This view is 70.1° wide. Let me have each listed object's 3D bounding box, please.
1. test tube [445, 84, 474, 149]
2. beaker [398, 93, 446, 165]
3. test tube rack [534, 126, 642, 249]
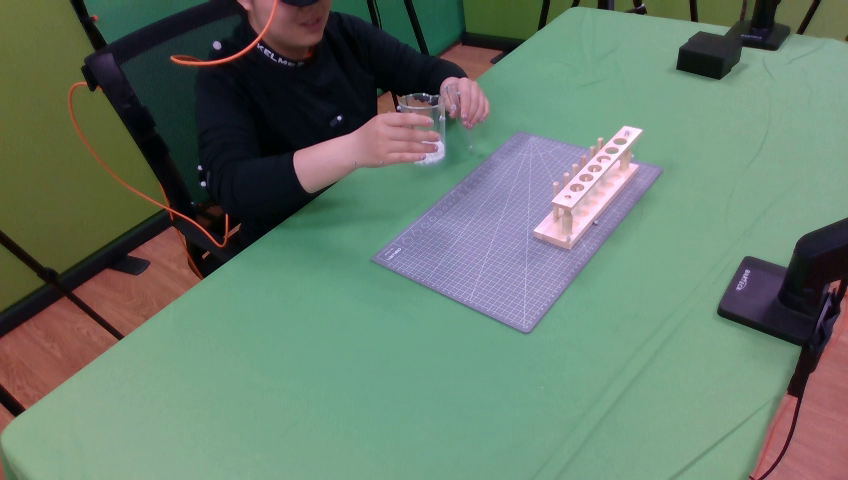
[{"bbox_3d":[0.067,-0.222,1.103,0.017,0.151,0.017,-12,49,14],"label":"test tube"},{"bbox_3d":[0.000,-0.179,0.972,0.073,0.100,0.084,8,32,17],"label":"beaker"},{"bbox_3d":[0.271,-0.095,0.990,0.066,0.085,0.243,23,49,33],"label":"test tube rack"}]
